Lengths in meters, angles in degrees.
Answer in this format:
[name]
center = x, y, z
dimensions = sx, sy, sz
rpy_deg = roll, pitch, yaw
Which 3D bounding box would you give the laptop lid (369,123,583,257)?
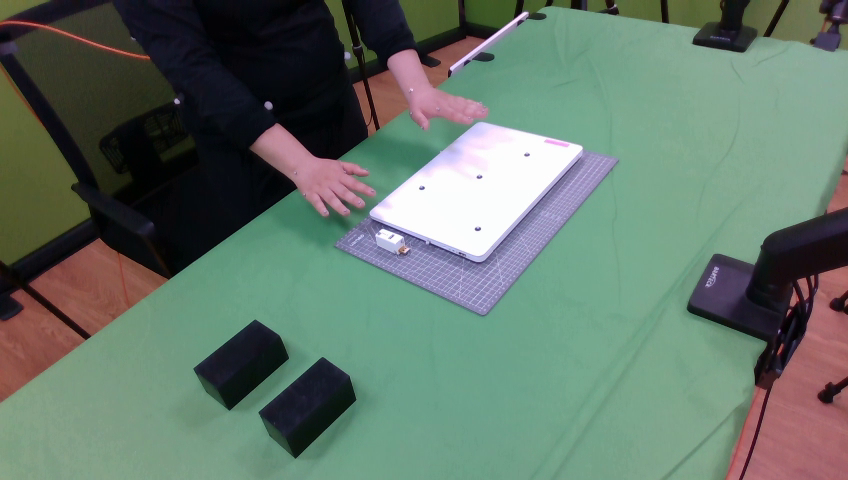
[laptop lid]
center = 0.097, -0.106, 1.065
dimensions = 0.239, 0.013, 0.358
rpy_deg = 22, 48, 33

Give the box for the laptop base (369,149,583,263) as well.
[laptop base]
center = 0.100, -0.097, 1.071
dimensions = 0.233, 0.023, 0.355
rpy_deg = 20, 47, 32

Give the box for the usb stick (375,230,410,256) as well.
[usb stick]
center = -0.049, 0.007, 0.962
dimensions = 0.059, 0.027, 0.021
rpy_deg = 24, 45, 28
